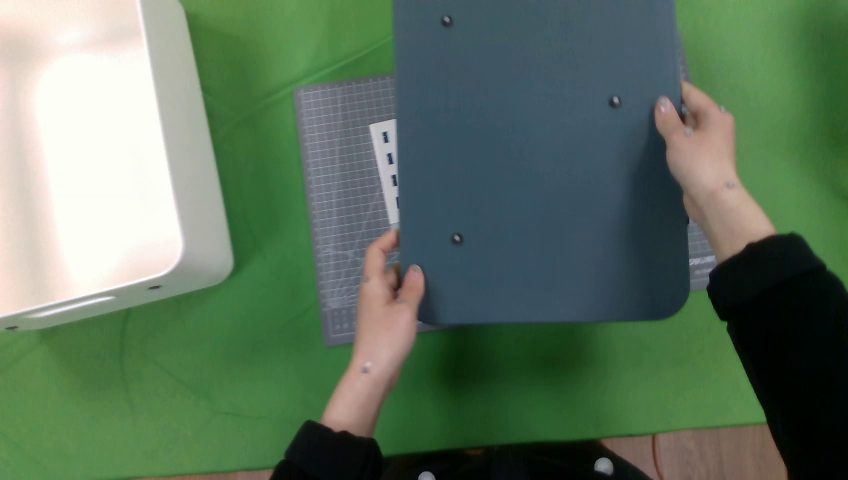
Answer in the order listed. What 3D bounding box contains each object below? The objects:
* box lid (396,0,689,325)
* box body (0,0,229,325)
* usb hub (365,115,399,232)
[{"bbox_3d":[0.105,-0.106,0.565,0.263,0.015,0.370,-1,86,3],"label":"box lid"},{"bbox_3d":[-0.367,-0.108,0.618,0.254,0.161,0.362,-14,82,-1],"label":"box body"},{"bbox_3d":[-0.028,-0.075,0.670,0.049,0.025,0.124,-13,82,-1],"label":"usb hub"}]
